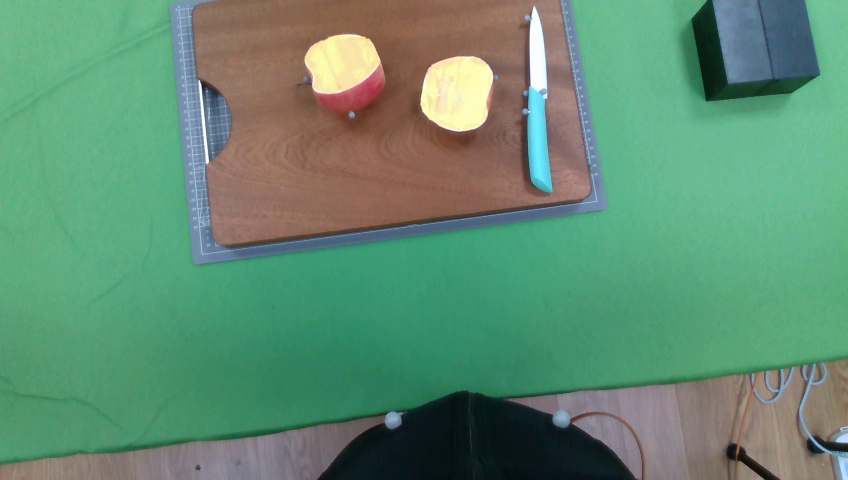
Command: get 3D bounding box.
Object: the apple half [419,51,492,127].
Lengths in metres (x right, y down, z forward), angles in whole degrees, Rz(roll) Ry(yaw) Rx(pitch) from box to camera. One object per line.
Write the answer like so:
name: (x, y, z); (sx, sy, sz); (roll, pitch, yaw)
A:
apple half: (0.035, -0.156, 0.633); (0.081, 0.033, 0.081); (0, 92, 12)

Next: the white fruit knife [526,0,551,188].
white fruit knife: (0.120, -0.158, 0.644); (0.027, 0.016, 0.206); (4, 81, -29)

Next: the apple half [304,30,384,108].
apple half: (-0.078, -0.169, 0.620); (0.074, 0.054, 0.080); (-25, 60, -2)
